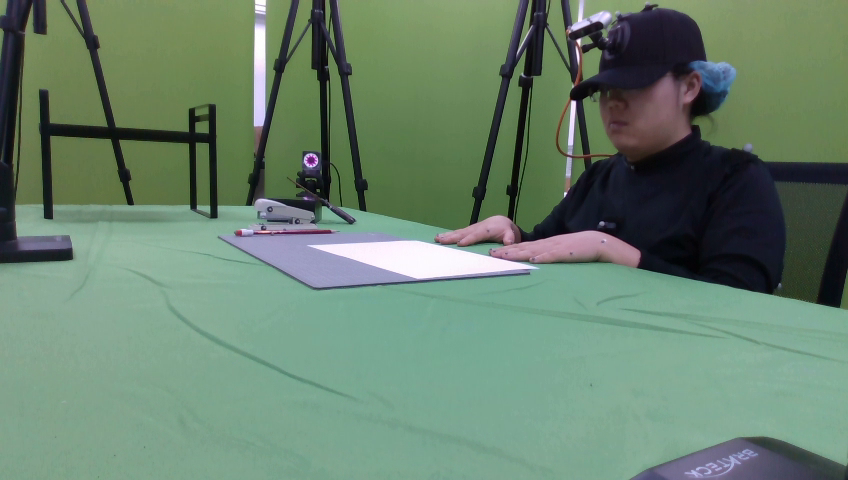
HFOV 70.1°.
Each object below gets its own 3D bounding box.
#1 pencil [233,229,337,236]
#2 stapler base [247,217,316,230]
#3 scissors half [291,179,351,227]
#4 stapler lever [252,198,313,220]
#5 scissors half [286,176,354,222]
[{"bbox_3d":[-0.240,-0.014,1.066,0.195,0.012,0.012,-1,8,-37],"label":"pencil"},{"bbox_3d":[-0.276,-0.033,1.172,0.131,0.024,0.041,0,10,-37],"label":"stapler base"},{"bbox_3d":[-0.233,-0.085,1.318,0.175,0.013,0.040,38,22,4],"label":"scissors half"},{"bbox_3d":[-0.273,-0.059,1.170,0.119,0.040,0.026,0,10,-37],"label":"stapler lever"},{"bbox_3d":[-0.229,-0.091,1.337,0.175,0.013,0.040,33,17,-13],"label":"scissors half"}]
